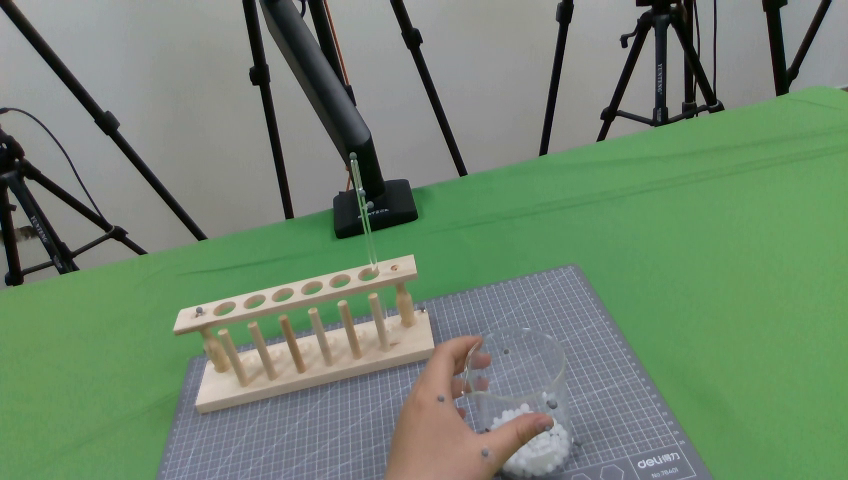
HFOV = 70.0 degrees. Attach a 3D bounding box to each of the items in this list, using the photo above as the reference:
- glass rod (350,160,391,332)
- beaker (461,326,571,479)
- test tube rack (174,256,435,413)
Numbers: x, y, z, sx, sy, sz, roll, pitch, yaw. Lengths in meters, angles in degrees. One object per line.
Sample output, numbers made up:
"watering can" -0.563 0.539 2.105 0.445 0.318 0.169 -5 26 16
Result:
"glass rod" -0.050 0.014 0.586 0.008 0.201 0.008 -6 33 4
"beaker" 0.073 0.130 0.470 0.084 0.101 0.073 -24 33 -16
"test tube rack" -0.118 0.095 0.611 0.242 0.086 0.066 -13 32 0
